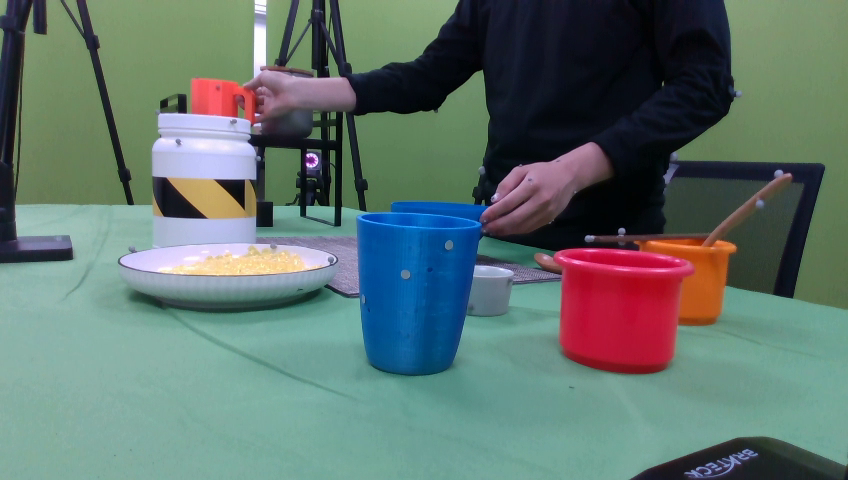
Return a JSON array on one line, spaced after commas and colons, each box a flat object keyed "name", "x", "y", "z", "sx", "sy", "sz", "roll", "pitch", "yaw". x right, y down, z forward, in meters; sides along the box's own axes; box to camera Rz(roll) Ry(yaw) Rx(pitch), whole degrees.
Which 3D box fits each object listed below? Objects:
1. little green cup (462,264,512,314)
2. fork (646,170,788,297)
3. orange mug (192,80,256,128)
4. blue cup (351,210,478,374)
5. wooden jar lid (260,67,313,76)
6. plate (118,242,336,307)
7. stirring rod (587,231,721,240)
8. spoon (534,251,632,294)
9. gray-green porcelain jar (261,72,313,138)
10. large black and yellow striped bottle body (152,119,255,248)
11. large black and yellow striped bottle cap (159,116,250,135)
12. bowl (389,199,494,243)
[{"name": "little green cup", "x": 0.053, "y": 0.047, "z": 0.580, "sx": 0.061, "sy": 0.038, "sz": 0.061, "roll": 3, "pitch": 8, "yaw": 0}, {"name": "fork", "x": 0.256, "y": 0.004, "z": 0.543, "sx": 0.028, "sy": 0.018, "sz": 0.207, "roll": 3, "pitch": -36, "yaw": -9}, {"name": "orange mug", "x": -0.388, "y": -0.258, "z": 1.172, "sx": 0.126, "sy": 0.101, "sz": 0.083, "roll": 1, "pitch": 9, "yaw": 10}, {"name": "blue cup", "x": -0.009, "y": 0.034, "z": 0.414, "sx": 0.093, "sy": 0.100, "sz": 0.092, "roll": 4, "pitch": 8, "yaw": 0}, {"name": "wooden jar lid", "x": -0.282, "y": -0.339, "z": 1.244, "sx": 0.108, "sy": 0.020, "sz": 0.108, "roll": 5, "pitch": 9, "yaw": 0}, {"name": "plate", "x": -0.194, "y": 0.033, "z": 0.615, "sx": 0.209, "sy": 0.038, "sz": 0.209, "roll": 2, "pitch": 7, "yaw": 0}, {"name": "stirring rod", "x": 0.227, "y": -0.005, "z": 0.586, "sx": 0.177, "sy": 0.006, "sz": 0.014, "roll": -1, "pitch": 6, "yaw": -29}, {"name": "spoon", "x": 0.193, "y": 0.038, "z": 0.753, "sx": 0.042, "sy": 0.021, "sz": 0.193, "roll": 15, "pitch": 2, "yaw": -21}, {"name": "gray-green porcelain jar", "x": -0.284, "y": -0.276, "z": 1.253, "sx": 0.106, "sy": 0.126, "sz": 0.106, "roll": 2, "pitch": 8, "yaw": 0}, {"name": "large black and yellow striped bottle body", "x": -0.296, "y": -0.070, "z": 0.819, "sx": 0.131, "sy": 0.184, "sz": 0.130, "roll": 2, "pitch": 7, "yaw": 0}, {"name": "large black and yellow striped bottle cap", "x": -0.292, "y": -0.153, "z": 0.810, "sx": 0.115, "sy": 0.019, "sz": 0.115, "roll": 3, "pitch": 8, "yaw": 0}, {"name": "bowl", "x": 0.023, "y": -0.015, "z": 0.872, "sx": 0.151, "sy": 0.077, "sz": 0.151, "roll": 3, "pitch": 7, "yaw": 0}]
